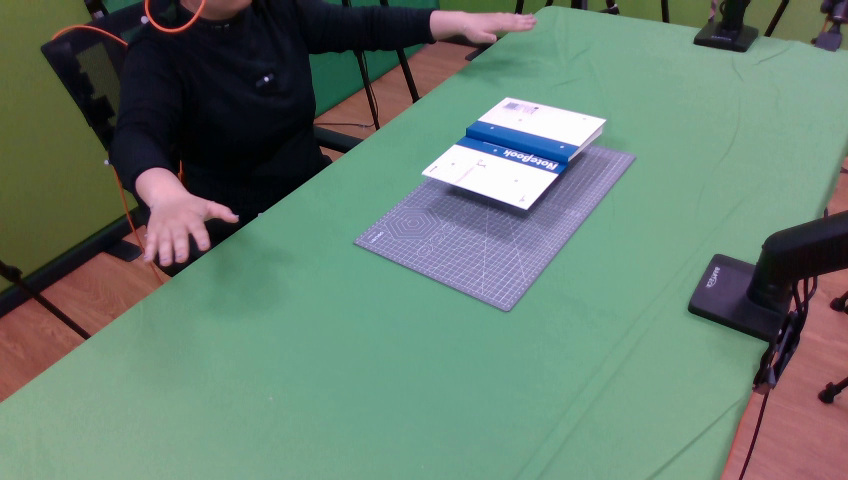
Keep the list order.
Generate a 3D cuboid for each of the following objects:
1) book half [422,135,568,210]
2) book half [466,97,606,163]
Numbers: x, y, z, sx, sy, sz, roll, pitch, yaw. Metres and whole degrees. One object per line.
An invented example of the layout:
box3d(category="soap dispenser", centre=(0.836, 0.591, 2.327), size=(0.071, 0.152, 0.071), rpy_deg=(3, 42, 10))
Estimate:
box3d(category="book half", centre=(0.119, -0.121, 1.027), size=(0.208, 0.007, 0.143), rpy_deg=(22, 49, 30))
box3d(category="book half", centre=(0.204, -0.207, 1.105), size=(0.208, 0.016, 0.149), rpy_deg=(22, 47, 31))
